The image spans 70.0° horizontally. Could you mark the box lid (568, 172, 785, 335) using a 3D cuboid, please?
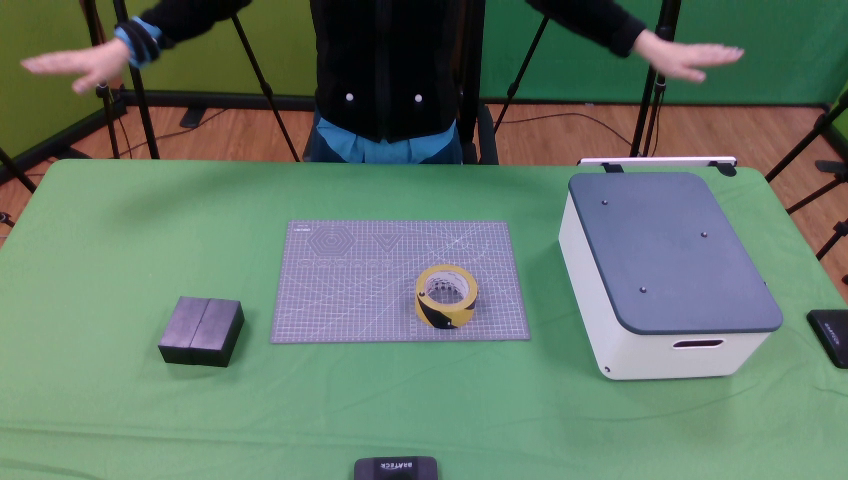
[{"bbox_3d":[0.407,0.007,1.019,0.263,0.015,0.369,-1,46,-5],"label":"box lid"}]

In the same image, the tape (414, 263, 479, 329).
[{"bbox_3d":[0.038,0.099,1.079,0.117,0.053,0.116,3,46,-2],"label":"tape"}]

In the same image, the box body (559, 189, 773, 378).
[{"bbox_3d":[0.405,0.057,1.074,0.254,0.161,0.361,-2,46,-5],"label":"box body"}]
